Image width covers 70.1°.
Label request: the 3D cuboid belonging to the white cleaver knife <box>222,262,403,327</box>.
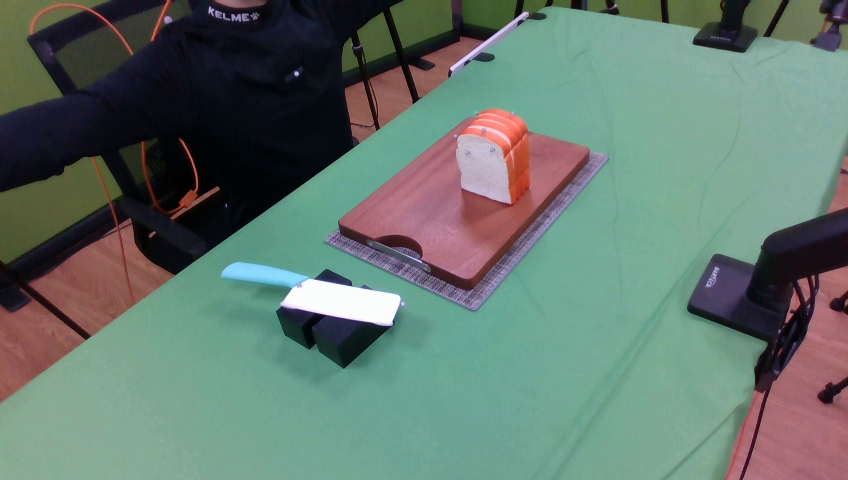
[{"bbox_3d":[-0.165,0.073,0.844,0.285,0.021,0.066,9,43,20],"label":"white cleaver knife"}]

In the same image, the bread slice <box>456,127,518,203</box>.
[{"bbox_3d":[0.097,-0.121,0.969,0.104,0.132,0.019,20,54,30],"label":"bread slice"}]

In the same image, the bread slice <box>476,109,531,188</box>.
[{"bbox_3d":[0.130,-0.152,0.999,0.106,0.135,0.018,23,49,28],"label":"bread slice"}]
